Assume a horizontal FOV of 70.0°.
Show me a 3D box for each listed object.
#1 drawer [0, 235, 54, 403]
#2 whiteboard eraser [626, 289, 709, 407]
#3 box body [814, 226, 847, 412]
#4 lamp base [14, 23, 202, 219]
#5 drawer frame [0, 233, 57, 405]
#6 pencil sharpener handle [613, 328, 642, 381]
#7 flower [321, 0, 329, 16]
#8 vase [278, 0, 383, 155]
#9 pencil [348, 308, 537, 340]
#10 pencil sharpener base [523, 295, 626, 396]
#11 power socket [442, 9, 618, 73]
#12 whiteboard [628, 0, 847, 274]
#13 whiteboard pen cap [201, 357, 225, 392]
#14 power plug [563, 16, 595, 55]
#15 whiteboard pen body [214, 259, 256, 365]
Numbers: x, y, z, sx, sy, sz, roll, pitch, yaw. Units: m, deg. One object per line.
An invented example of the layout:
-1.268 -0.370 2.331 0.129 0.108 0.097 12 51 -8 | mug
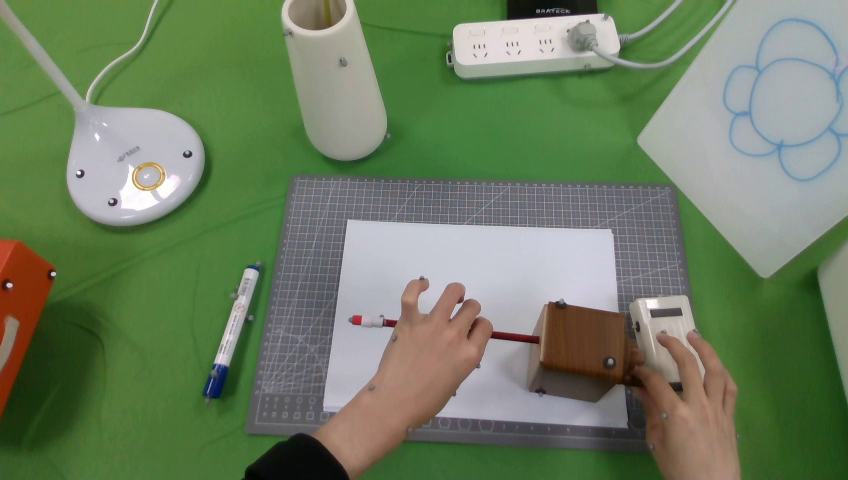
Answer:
-0.489 0.086 0.558 0.211 0.074 0.193 4 66 4 | drawer
0.238 0.106 0.598 0.055 0.042 0.111 -3 64 -1 | whiteboard eraser
0.521 0.137 0.511 0.254 0.161 0.361 1 65 2 | box body
-0.358 -0.136 0.655 0.178 0.182 0.160 33 69 19 | lamp base
-0.495 0.088 0.560 0.213 0.083 0.200 5 65 2 | drawer frame
0.188 0.106 0.548 0.030 0.068 0.035 8 51 6 | pencil sharpener handle
-0.096 -0.232 0.592 0.038 0.365 0.043 -9 46 -10 | flower
-0.101 -0.180 0.659 0.098 0.201 0.097 -1 64 3 | vase
0.027 0.078 0.548 0.194 0.012 0.012 7 64 2 | pencil
0.139 0.102 0.566 0.076 0.108 0.061 8 65 5 | pencil sharpener base
0.137 -0.256 0.780 0.227 0.033 0.071 -3 65 0 | power socket
0.397 -0.150 0.606 0.144 0.307 0.215 -20 63 -28 | whiteboard
-0.210 0.133 0.605 0.018 0.018 0.033 6 59 5 | whiteboard pen cap
0.189 -0.244 0.747 0.035 0.053 0.072 6 66 5 | power plug
-0.200 0.083 0.633 0.017 0.017 0.139 6 61 5 | whiteboard pen body
